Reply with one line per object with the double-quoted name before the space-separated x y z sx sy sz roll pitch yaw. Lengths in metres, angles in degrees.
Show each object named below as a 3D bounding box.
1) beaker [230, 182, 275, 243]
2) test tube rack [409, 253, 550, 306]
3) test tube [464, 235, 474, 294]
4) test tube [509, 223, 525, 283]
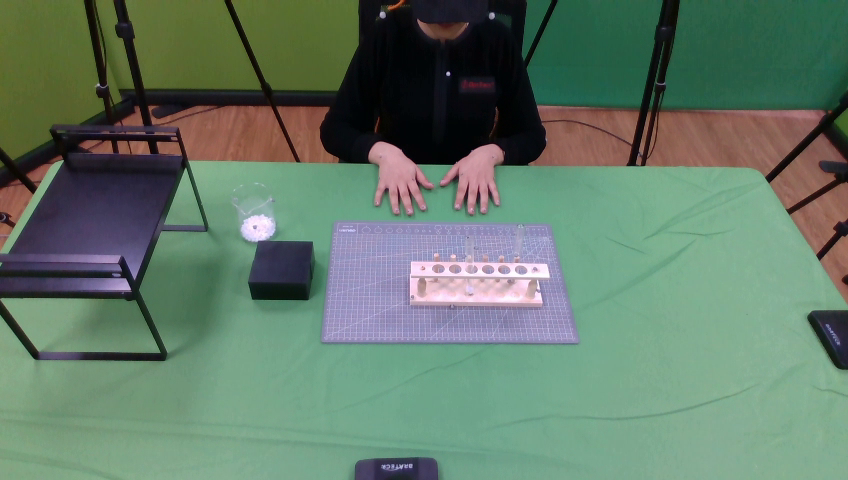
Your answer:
"beaker" -0.328 -0.048 1.166 0.074 0.101 0.083 2 47 -2
"test tube rack" 0.095 0.067 1.093 0.242 0.085 0.066 1 47 -3
"test tube" 0.078 0.046 1.044 0.017 0.151 0.017 -2 49 2
"test tube" 0.165 0.024 1.078 0.017 0.151 0.017 0 47 1
